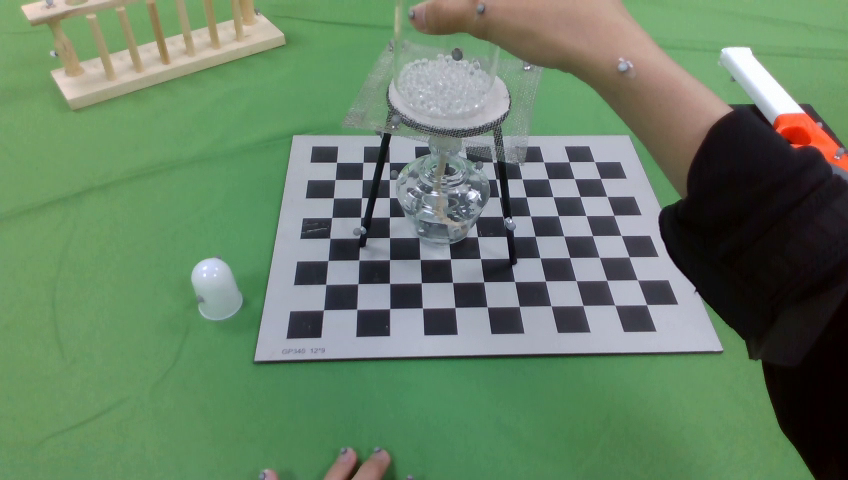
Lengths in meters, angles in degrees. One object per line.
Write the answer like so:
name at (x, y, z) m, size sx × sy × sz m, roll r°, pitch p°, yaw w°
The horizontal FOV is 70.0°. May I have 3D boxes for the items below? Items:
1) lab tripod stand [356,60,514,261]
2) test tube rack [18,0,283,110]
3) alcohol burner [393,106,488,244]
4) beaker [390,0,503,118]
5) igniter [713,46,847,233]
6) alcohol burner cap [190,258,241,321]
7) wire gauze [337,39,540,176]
lab tripod stand at (0.017, -0.059, 0.476) m, size 0.148 × 0.132 × 0.147 m, roll 3°, pitch 46°, yaw -3°
test tube rack at (-0.282, -0.231, 0.656) m, size 0.242 × 0.086 × 0.066 m, roll -27°, pitch 55°, yaw -26°
alcohol burner at (0.013, -0.054, 0.484) m, size 0.078 × 0.120 × 0.077 m, roll 0°, pitch 48°, yaw 0°
beaker at (0.013, -0.136, 0.389) m, size 0.074 × 0.101 × 0.083 m, roll 5°, pitch 48°, yaw 1°
igniter at (0.329, -0.102, 0.546) m, size 0.057 × 0.025 × 0.273 m, roll -3°, pitch 45°, yaw -1°
alcohol burner cap at (-0.157, 0.034, 0.448) m, size 0.034 × 0.048 × 0.033 m, roll 2°, pitch 47°, yaw -2°
wire gauze at (0.015, -0.102, 0.426) m, size 0.125 × 0.011 × 0.120 m, roll 15°, pitch 50°, yaw 5°
